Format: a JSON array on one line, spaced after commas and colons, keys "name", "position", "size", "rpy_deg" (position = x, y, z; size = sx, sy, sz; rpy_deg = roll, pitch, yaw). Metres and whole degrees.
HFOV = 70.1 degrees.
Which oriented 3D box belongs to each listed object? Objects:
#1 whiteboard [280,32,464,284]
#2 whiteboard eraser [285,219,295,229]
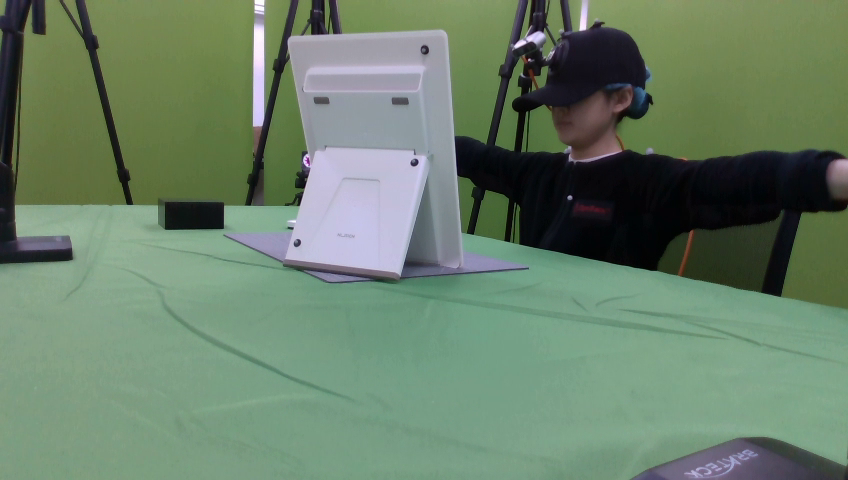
[{"name": "whiteboard", "position": [-0.087, -0.080, 0.728], "size": [0.216, 0.305, 0.144], "rpy_deg": [7, 28, 24]}, {"name": "whiteboard eraser", "position": [-0.227, -0.032, 1.203], "size": [0.102, 0.019, 0.041], "rpy_deg": [0, 7, -33]}]
